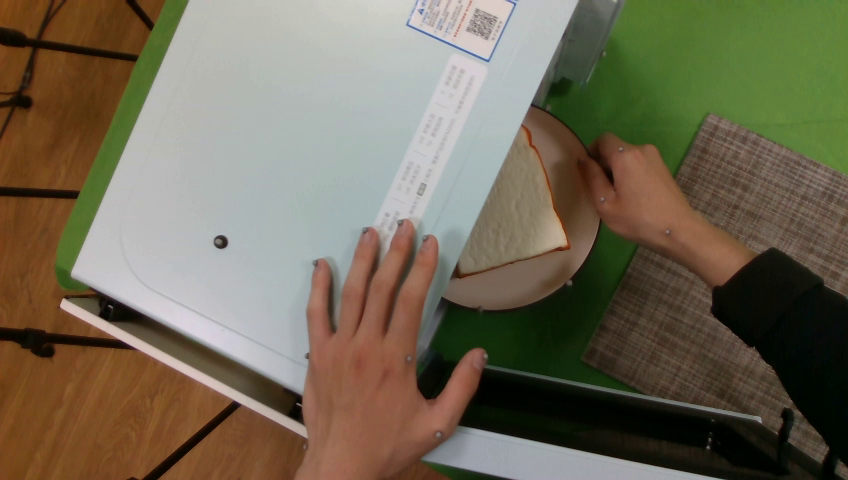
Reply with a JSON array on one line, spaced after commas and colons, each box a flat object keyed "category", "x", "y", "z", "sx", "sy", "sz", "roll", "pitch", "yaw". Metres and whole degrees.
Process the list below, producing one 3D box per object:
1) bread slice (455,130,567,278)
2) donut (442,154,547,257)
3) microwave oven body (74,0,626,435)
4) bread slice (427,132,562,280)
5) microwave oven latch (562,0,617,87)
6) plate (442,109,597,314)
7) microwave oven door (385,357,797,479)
[{"category": "bread slice", "x": 0.059, "y": -0.040, "z": 0.542, "sx": 0.105, "sy": 0.019, "sz": 0.131, "roll": -17, "pitch": 88, "yaw": 7}, {"category": "donut", "x": 0.065, "y": -0.032, "z": 0.572, "sx": 0.099, "sy": 0.048, "sz": 0.099, "roll": 0, "pitch": 92, "yaw": 2}, {"category": "microwave oven body", "x": -0.048, "y": -0.110, "z": 0.566, "sx": 0.325, "sy": 0.260, "sz": 0.441, "roll": 25, "pitch": 93, "yaw": 6}, {"category": "bread slice", "x": 0.060, "y": -0.038, "z": 0.598, "sx": 0.107, "sy": 0.018, "sz": 0.134, "roll": -22, "pitch": 89, "yaw": 1}, {"category": "microwave oven latch", "x": 0.173, "y": -0.205, "z": 0.636, "sx": 0.030, "sy": 0.029, "sz": 0.079, "roll": 26, "pitch": 93, "yaw": 6}, {"category": "plate", "x": 0.062, "y": -0.032, "z": 0.599, "sx": 0.207, "sy": 0.039, "sz": 0.207, "roll": 0, "pitch": 90, "yaw": 2}, {"category": "microwave oven door", "x": 0.160, "y": 0.170, "z": 0.533, "sx": 0.355, "sy": 0.244, "sz": 0.039, "roll": 9, "pitch": 90, "yaw": 7}]
